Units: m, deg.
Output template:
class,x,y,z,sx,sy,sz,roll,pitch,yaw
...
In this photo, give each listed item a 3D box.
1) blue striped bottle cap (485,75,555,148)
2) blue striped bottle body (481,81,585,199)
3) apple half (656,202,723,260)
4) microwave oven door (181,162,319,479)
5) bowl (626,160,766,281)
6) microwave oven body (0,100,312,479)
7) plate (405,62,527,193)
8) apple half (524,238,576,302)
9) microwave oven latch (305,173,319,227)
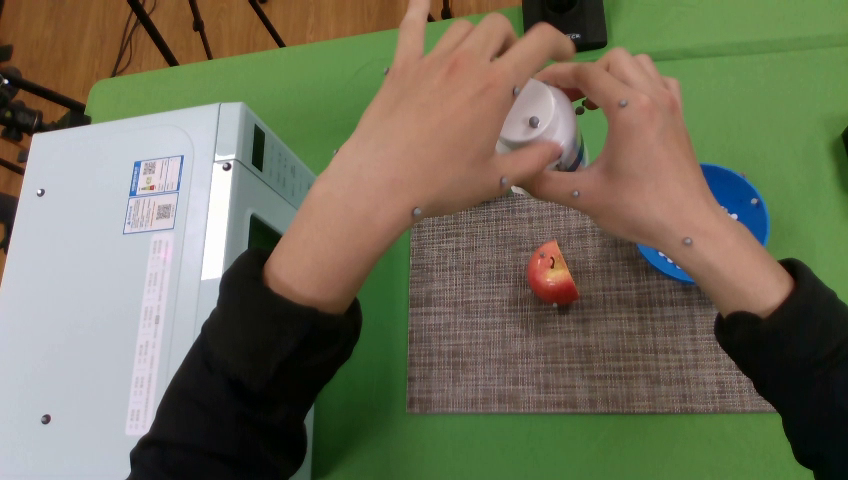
class,x,y,z,sx,sy,sz,roll,pitch,yaw
blue striped bottle cap,0.062,-0.084,0.394,0.044,0.021,0.044,-3,82,18
blue striped bottle body,0.080,-0.073,0.442,0.063,0.121,0.063,-4,79,20
apple half,0.325,-0.014,0.737,0.081,0.033,0.080,-5,69,13
microwave oven door,-0.196,0.115,0.734,0.039,0.246,0.353,-6,70,13
bowl,0.325,-0.014,0.742,0.151,0.077,0.150,-5,71,14
microwave oven body,-0.337,0.092,0.784,0.325,0.262,0.438,-6,71,12
plate,0.077,-0.160,0.884,0.207,0.039,0.206,-4,71,13
apple half,0.155,0.044,0.771,0.053,0.075,0.080,-24,71,10
microwave oven latch,-0.172,-0.059,0.896,0.030,0.030,0.078,-7,71,12
